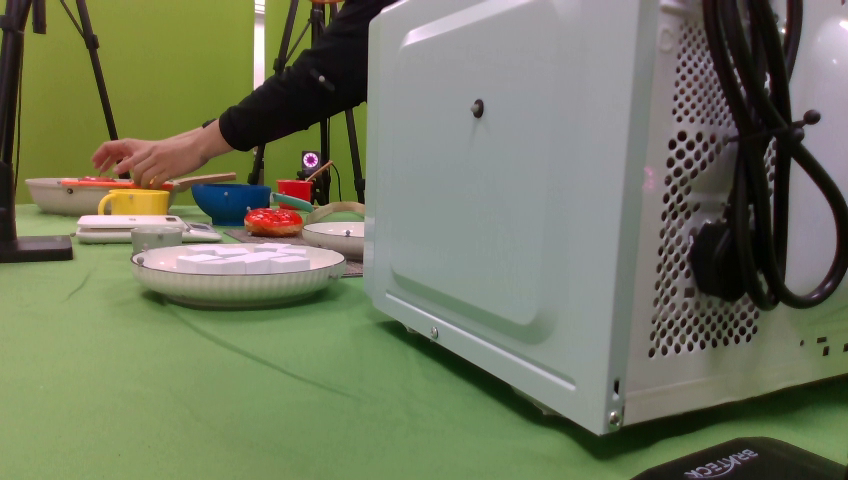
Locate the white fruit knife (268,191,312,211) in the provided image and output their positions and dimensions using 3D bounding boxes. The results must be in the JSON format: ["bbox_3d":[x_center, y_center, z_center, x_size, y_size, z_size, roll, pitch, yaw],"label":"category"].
[{"bbox_3d":[-0.364,-0.105,1.464,0.208,0.027,0.016,15,0,-34],"label":"white fruit knife"}]

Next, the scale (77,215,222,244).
[{"bbox_3d":[-0.434,-0.018,0.963,0.202,0.031,0.148,-1,9,-27],"label":"scale"}]

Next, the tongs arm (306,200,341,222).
[{"bbox_3d":[-0.234,-0.069,1.413,0.028,0.028,0.387,-5,7,1],"label":"tongs arm"}]

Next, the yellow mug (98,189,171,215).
[{"bbox_3d":[-0.519,-0.055,1.080,0.099,0.064,0.131,7,10,26],"label":"yellow mug"}]

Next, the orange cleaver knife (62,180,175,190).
[{"bbox_3d":[-0.600,-0.110,1.193,0.212,0.012,0.077,1,8,-13],"label":"orange cleaver knife"}]

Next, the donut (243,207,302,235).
[{"bbox_3d":[-0.261,-0.032,1.043,0.099,0.048,0.099,4,9,0],"label":"donut"}]

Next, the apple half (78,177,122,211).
[{"bbox_3d":[-0.698,-0.099,1.298,0.081,0.074,0.053,-8,9,-40],"label":"apple half"}]

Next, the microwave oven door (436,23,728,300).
[{"bbox_3d":[0.180,-0.073,0.621,0.358,0.243,0.039,-2,9,-29],"label":"microwave oven door"}]

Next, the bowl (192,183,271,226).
[{"bbox_3d":[-0.382,-0.071,1.202,0.151,0.077,0.151,4,7,0],"label":"bowl"}]

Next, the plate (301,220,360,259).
[{"bbox_3d":[-0.077,-0.002,0.893,0.209,0.038,0.209,3,8,0],"label":"plate"}]

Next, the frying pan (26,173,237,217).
[{"bbox_3d":[-0.624,-0.118,1.387,0.305,0.102,0.490,8,17,32],"label":"frying pan"}]

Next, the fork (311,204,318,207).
[{"bbox_3d":[-0.356,-0.105,1.526,0.208,0.018,0.028,16,-5,-41],"label":"fork"}]

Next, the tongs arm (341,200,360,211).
[{"bbox_3d":[-0.148,-0.070,1.428,0.051,0.026,0.383,-3,8,-15],"label":"tongs arm"}]

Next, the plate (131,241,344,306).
[{"bbox_3d":[-0.187,0.033,0.625,0.208,0.039,0.207,2,8,0],"label":"plate"}]

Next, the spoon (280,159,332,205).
[{"bbox_3d":[-0.317,-0.159,1.640,0.194,0.022,0.041,-49,32,-20],"label":"spoon"}]

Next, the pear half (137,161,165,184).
[{"bbox_3d":[-0.603,-0.120,1.354,0.056,0.110,0.076,4,11,6],"label":"pear half"}]

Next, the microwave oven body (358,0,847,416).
[{"bbox_3d":[0.211,-0.047,0.474,0.444,0.260,0.324,-1,7,-28],"label":"microwave oven body"}]

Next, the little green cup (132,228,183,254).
[{"bbox_3d":[-0.342,0.006,0.779,0.061,0.038,0.061,2,8,0],"label":"little green cup"}]

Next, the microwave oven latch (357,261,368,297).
[{"bbox_3d":[-0.019,0.033,0.531,0.079,0.029,0.030,-1,7,-27],"label":"microwave oven latch"}]

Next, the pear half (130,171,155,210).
[{"bbox_3d":[-0.640,-0.113,1.362,0.031,0.088,0.070,7,12,7],"label":"pear half"}]

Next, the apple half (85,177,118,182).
[{"bbox_3d":[-0.672,-0.096,1.268,0.082,0.081,0.032,-4,4,-39],"label":"apple half"}]
